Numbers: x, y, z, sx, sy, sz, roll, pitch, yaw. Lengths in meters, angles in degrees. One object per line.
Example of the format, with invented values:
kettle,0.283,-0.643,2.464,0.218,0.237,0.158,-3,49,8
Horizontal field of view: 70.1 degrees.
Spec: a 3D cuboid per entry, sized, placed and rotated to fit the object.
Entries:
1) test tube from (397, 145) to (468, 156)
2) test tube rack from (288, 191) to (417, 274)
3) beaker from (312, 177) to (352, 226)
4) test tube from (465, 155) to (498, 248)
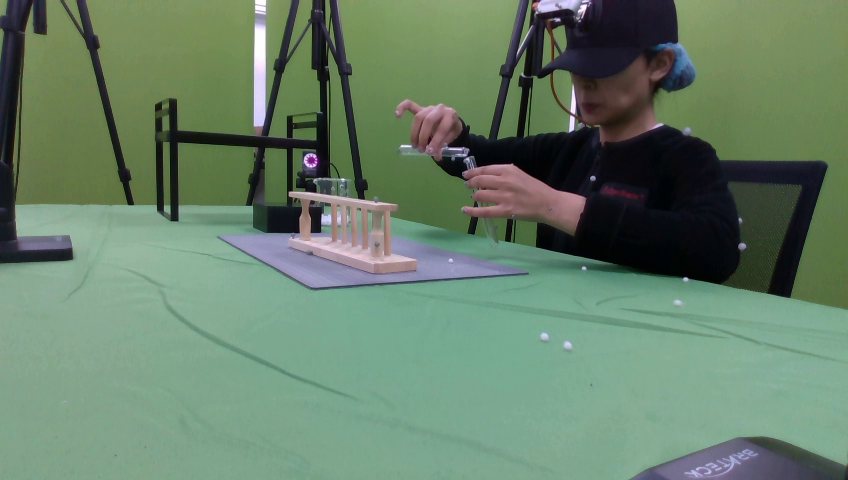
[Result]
test tube,0.011,-0.149,1.002,0.149,0.017,0.017,9,10,42
test tube rack,-0.106,-0.017,0.835,0.067,0.085,0.241,-3,9,-37
beaker,-0.194,-0.081,1.266,0.084,0.100,0.073,-3,9,-29
test tube,0.091,-0.061,0.944,0.017,0.150,0.017,-15,-4,-1
